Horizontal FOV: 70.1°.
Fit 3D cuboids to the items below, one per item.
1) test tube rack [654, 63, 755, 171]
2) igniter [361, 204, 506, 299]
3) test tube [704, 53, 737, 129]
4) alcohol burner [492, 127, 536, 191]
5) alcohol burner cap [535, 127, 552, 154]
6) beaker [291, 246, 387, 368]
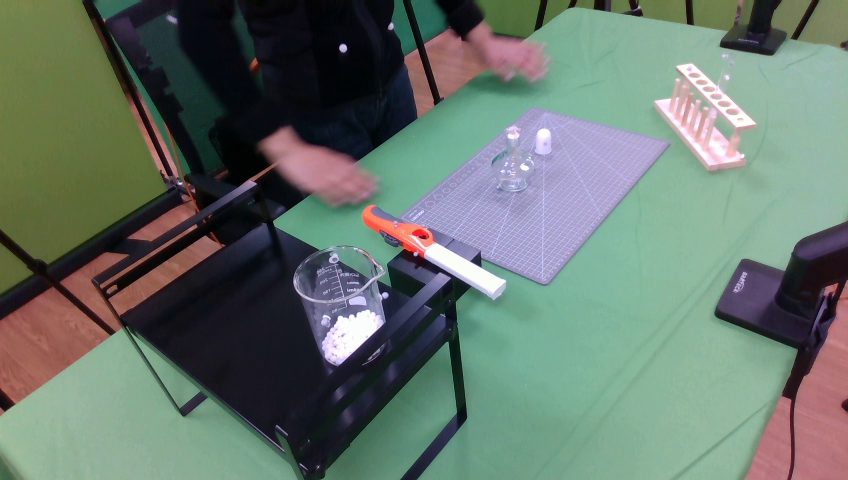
[{"bbox_3d":[0.510,-0.233,1.120,0.067,0.085,0.241,-8,41,-1],"label":"test tube rack"},{"bbox_3d":[0.003,0.009,0.887,0.274,0.025,0.057,30,50,33],"label":"igniter"},{"bbox_3d":[0.526,-0.261,1.074,0.017,0.151,0.017,-2,44,2],"label":"test tube"},{"bbox_3d":[0.156,-0.146,1.046,0.078,0.119,0.077,-4,43,4],"label":"alcohol burner"},{"bbox_3d":[0.227,-0.190,1.142,0.034,0.048,0.033,-3,40,3],"label":"alcohol burner cap"},{"bbox_3d":[-0.073,0.066,0.573,0.084,0.101,0.073,-7,41,0],"label":"beaker"}]
